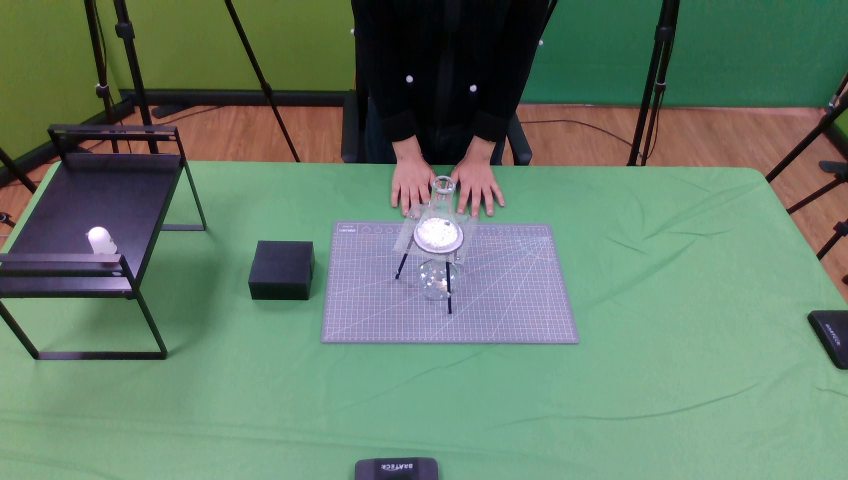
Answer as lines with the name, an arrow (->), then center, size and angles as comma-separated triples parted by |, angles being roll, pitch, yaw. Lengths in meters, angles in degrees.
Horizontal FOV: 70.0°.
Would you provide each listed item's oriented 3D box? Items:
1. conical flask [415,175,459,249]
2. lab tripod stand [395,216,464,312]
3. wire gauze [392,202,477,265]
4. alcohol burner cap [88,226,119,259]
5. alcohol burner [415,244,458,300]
conical flask -> 0.026, -0.049, 0.993 | 0.075, 0.122, 0.075 | 3, 47, -3
lab tripod stand -> 0.023, 0.037, 1.084 | 0.148, 0.132, 0.147 | 4, 47, -4
wire gauze -> 0.021, -0.011, 1.037 | 0.121, 0.011, 0.124 | 13, 49, 8
alcohol burner cap -> -0.476, 0.002, 0.895 | 0.034, 0.048, 0.033 | 1, 47, -1
alcohol burner -> 0.024, 0.051, 1.084 | 0.078, 0.119, 0.077 | 3, 45, -3
